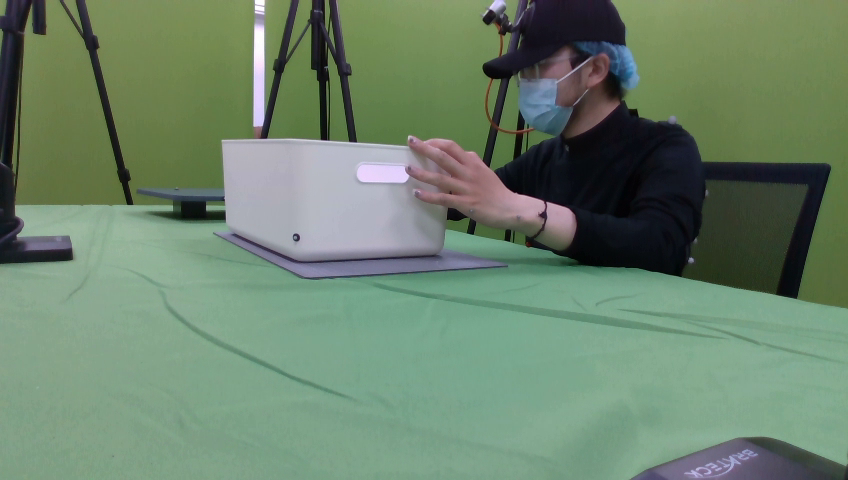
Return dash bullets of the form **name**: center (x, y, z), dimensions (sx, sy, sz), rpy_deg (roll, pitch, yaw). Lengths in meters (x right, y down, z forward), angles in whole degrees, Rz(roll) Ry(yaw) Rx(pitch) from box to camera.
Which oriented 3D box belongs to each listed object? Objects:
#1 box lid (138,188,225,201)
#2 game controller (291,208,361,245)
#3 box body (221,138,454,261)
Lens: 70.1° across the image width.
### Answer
- **box lid**: center (-0.433, -0.105, 1.395), dimensions (0.374, 0.015, 0.262), rpy_deg (-5, 10, -44)
- **game controller**: center (-0.161, -0.023, 0.967), dimensions (0.097, 0.051, 0.154), rpy_deg (-5, 9, -15)
- **box body**: center (-0.152, -0.074, 0.963), dimensions (0.255, 0.160, 0.362), rpy_deg (-3, 9, -33)
